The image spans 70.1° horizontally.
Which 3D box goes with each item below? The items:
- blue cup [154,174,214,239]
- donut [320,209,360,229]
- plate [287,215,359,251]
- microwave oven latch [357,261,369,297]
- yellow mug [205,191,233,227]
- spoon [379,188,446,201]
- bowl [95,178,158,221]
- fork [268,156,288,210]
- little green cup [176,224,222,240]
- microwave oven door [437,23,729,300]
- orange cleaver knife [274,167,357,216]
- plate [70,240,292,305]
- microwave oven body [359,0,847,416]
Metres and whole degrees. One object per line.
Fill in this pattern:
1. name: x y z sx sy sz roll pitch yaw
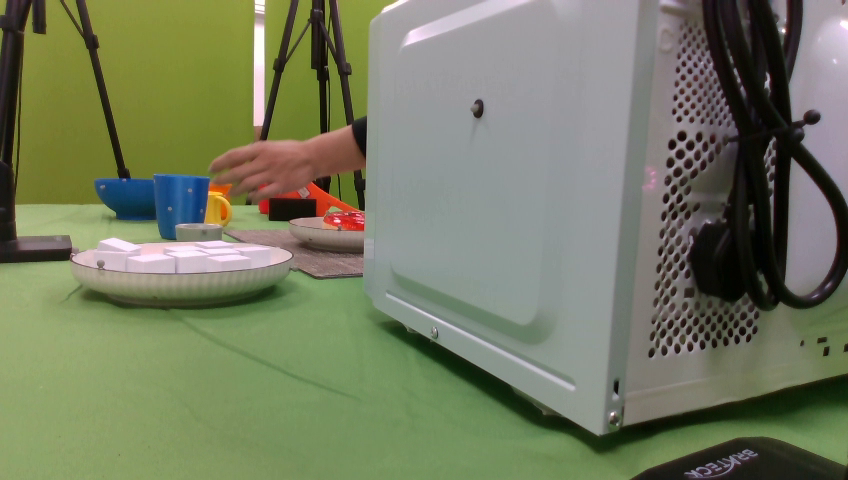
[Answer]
1. blue cup: -0.391 -0.053 0.978 0.093 0.100 0.092 3 6 0
2. donut: -0.116 -0.023 0.961 0.099 0.048 0.099 4 8 0
3. plate: -0.111 -0.012 0.960 0.209 0.038 0.209 3 8 0
4. microwave oven latch: -0.019 0.033 0.531 0.079 0.029 0.030 -1 7 -28
5. yellow mug: -0.415 -0.057 1.132 0.130 0.064 0.100 6 8 16
6. spoon: -0.018 -0.099 1.263 0.041 0.021 0.195 -2 9 44
7. bowl: -0.576 -0.081 1.217 0.151 0.077 0.151 3 8 0
8. fork: -0.360 -0.144 1.508 0.028 0.018 0.207 2 49 0
9. little green cup: -0.312 -0.001 0.842 0.061 0.038 0.061 2 8 0
10. microwave oven door: 0.181 -0.072 0.621 0.358 0.243 0.039 -2 9 -29
11. orange cleaver knife: -0.238 -0.090 1.381 0.212 0.077 0.012 31 0 -19
12. plate: -0.242 0.031 0.618 0.208 0.039 0.207 2 8 0
13. microwave oven body: 0.211 -0.047 0.474 0.444 0.260 0.324 -1 7 -28
